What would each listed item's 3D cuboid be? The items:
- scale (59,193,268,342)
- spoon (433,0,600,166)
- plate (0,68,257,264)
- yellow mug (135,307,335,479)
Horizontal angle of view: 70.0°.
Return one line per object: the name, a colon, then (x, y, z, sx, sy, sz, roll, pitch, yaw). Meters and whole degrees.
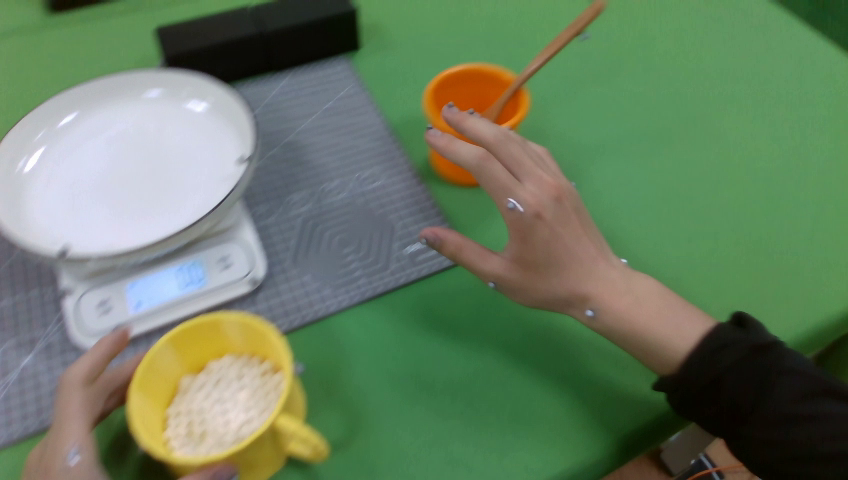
scale: (-0.230, -0.022, 0.512, 0.149, 0.032, 0.199, -21, 58, -15)
spoon: (0.079, -0.137, 0.532, 0.022, 0.194, 0.041, 10, 42, -53)
plate: (-0.242, -0.063, 0.500, 0.209, 0.038, 0.207, 1, 54, -1)
yellow mug: (-0.117, 0.109, 0.403, 0.130, 0.064, 0.099, 21, 57, 13)
